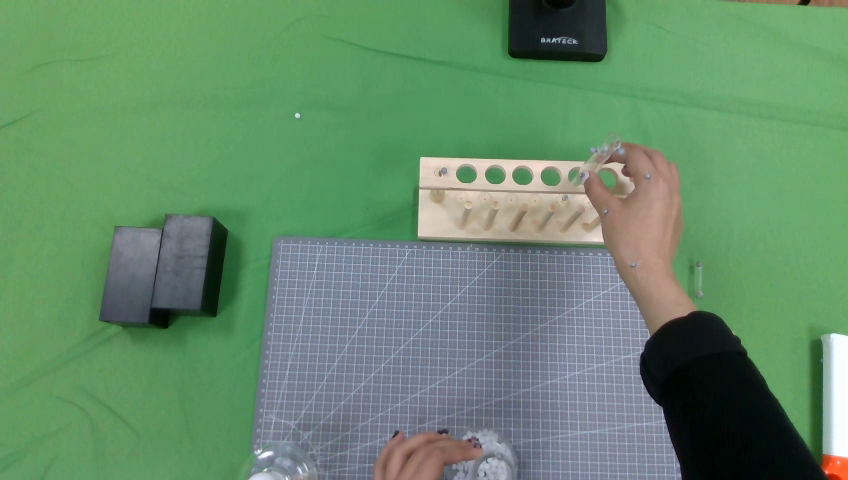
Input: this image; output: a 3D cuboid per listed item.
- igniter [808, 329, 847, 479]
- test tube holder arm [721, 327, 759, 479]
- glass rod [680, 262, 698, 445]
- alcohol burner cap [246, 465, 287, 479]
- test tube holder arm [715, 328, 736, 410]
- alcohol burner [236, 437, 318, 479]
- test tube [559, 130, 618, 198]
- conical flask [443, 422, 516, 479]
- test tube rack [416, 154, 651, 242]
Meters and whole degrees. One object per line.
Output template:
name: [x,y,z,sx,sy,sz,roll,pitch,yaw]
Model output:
igniter: [0.426,0.230,0.629,0.057,0.025,0.275,12,76,-8]
test tube holder arm: [0.336,0.181,0.642,0.013,0.015,0.177,-14,73,32]
glass rod: [0.291,0.121,0.663,0.008,0.008,0.199,9,78,1]
alcohol burner cap: [-0.141,0.214,0.534,0.034,0.048,0.033,1,67,-1]
test tube holder arm: [0.328,0.139,0.656,0.010,0.015,0.087,-12,74,32]
alcohol burner: [-0.142,0.226,0.568,0.078,0.119,0.077,0,74,1]
test tube: [0.162,-0.072,0.610,0.017,0.151,0.017,1,75,-3]
conical flask: [0.058,0.212,0.573,0.075,0.122,0.075,0,75,-1]
test tube rack: [0.113,-0.043,0.661,0.242,0.085,0.066,2,76,-1]
